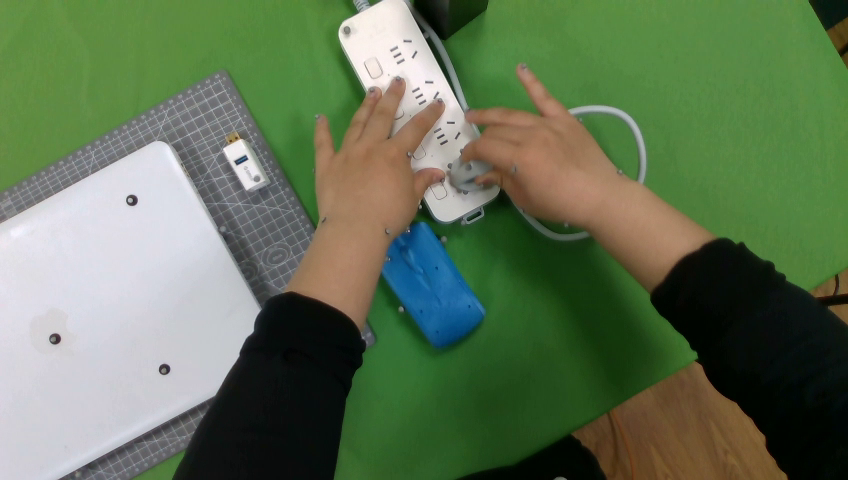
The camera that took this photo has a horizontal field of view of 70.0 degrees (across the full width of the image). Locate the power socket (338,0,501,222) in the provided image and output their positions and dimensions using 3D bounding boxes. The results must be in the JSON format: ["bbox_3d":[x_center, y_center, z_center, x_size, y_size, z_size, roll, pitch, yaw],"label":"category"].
[{"bbox_3d":[-0.004,-0.121,0.567,0.072,0.032,0.226,-28,90,1],"label":"power socket"}]

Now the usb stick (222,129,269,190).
[{"bbox_3d":[-0.170,-0.077,0.566,0.021,0.027,0.059,-28,89,1],"label":"usb stick"}]

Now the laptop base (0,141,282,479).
[{"bbox_3d":[-0.340,0.088,0.573,0.354,0.023,0.236,-29,94,0],"label":"laptop base"}]

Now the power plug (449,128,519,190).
[{"bbox_3d":[0.057,-0.070,0.537,0.072,0.052,0.035,-19,96,15],"label":"power plug"}]

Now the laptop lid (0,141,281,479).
[{"bbox_3d":[-0.339,0.090,0.561,0.357,0.013,0.242,-27,93,0],"label":"laptop lid"}]

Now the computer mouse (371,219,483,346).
[{"bbox_3d":[0.002,0.039,0.567,0.063,0.041,0.117,-34,86,3],"label":"computer mouse"}]
